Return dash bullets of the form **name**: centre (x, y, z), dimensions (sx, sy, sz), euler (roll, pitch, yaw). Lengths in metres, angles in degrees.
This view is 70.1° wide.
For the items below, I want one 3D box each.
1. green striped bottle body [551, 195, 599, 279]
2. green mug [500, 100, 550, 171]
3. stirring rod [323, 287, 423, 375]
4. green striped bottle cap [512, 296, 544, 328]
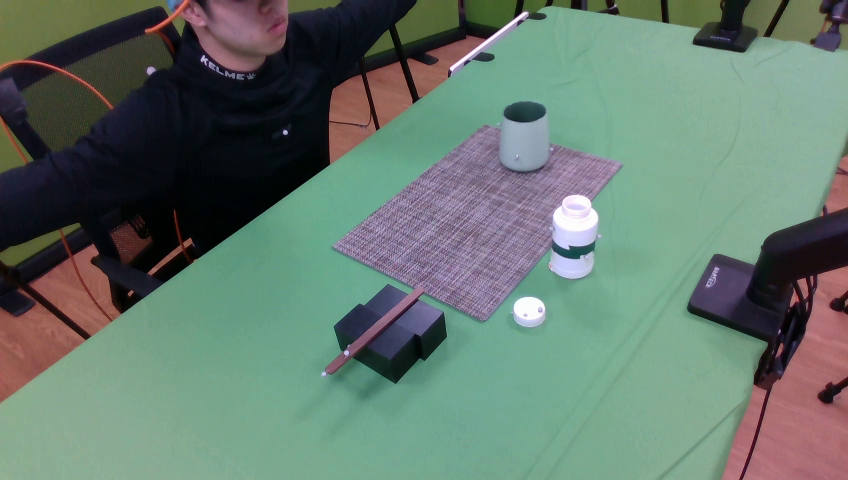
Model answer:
- **green striped bottle body**: centre (0.217, -0.006, 0.870), dimensions (0.063, 0.120, 0.063), euler (-4, 41, 4)
- **green mug**: centre (0.183, -0.197, 1.101), dimensions (0.092, 0.105, 0.125), euler (-1, 41, 8)
- **stirring rod**: centre (-0.062, 0.114, 0.781), dimensions (0.014, 0.006, 0.177), euler (24, 49, 34)
- **green striped bottle cap**: centre (0.144, 0.099, 0.837), dimensions (0.044, 0.020, 0.044), euler (-1, 43, 2)
